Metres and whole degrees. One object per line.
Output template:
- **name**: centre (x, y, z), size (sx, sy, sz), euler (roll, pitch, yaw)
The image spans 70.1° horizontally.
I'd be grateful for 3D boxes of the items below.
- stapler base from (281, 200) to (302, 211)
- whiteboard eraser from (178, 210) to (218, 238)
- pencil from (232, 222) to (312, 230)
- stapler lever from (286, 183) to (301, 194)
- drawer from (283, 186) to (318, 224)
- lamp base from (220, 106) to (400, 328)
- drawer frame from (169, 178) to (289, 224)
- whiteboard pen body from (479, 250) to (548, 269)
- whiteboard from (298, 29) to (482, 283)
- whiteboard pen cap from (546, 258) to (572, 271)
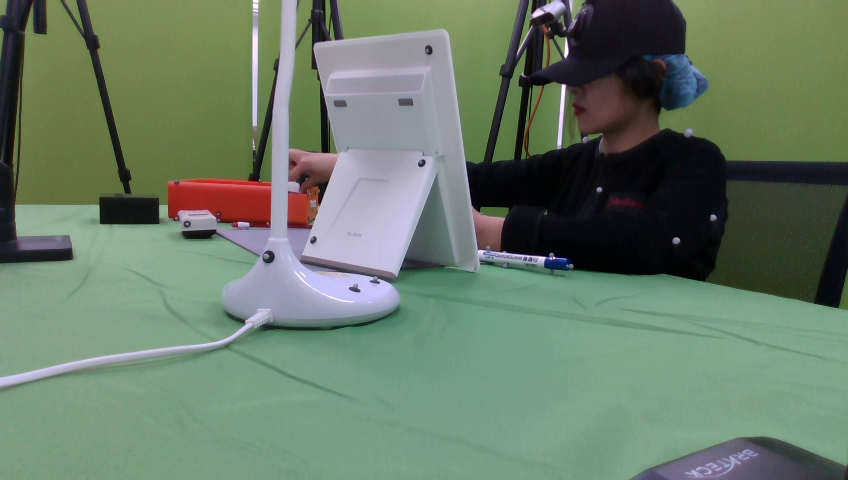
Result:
- **stapler base**: centre (-0.283, -0.076, 1.303), size (0.041, 0.024, 0.130), euler (11, 0, -10)
- **whiteboard eraser**: centre (-0.380, -0.027, 1.014), size (0.056, 0.042, 0.112), euler (0, 8, -25)
- **pencil**: centre (-0.261, -0.025, 1.141), size (0.195, 0.012, 0.012), euler (2, 7, -26)
- **stapler lever**: centre (-0.280, -0.100, 1.304), size (0.027, 0.040, 0.118), euler (11, 0, -10)
- **drawer**: centre (-0.343, -0.083, 1.309), size (0.212, 0.073, 0.194), euler (2, 8, -4)
- **lamp base**: centre (-0.101, -0.023, 0.531), size (0.160, 0.180, 0.179), euler (4, 10, 10)
- **drawer frame**: centre (-0.406, -0.087, 1.304), size (0.214, 0.082, 0.201), euler (1, 8, -5)
- **whiteboard pen body**: centre (0.130, 0.028, 0.827), size (0.140, 0.017, 0.017), euler (6, 8, 38)
- **whiteboard**: centre (-0.075, -0.082, 0.741), size (0.216, 0.305, 0.144), euler (9, 29, 37)
- **whiteboard pen cap**: centre (0.175, 0.032, 0.790), size (0.033, 0.018, 0.018), euler (3, 6, 37)
